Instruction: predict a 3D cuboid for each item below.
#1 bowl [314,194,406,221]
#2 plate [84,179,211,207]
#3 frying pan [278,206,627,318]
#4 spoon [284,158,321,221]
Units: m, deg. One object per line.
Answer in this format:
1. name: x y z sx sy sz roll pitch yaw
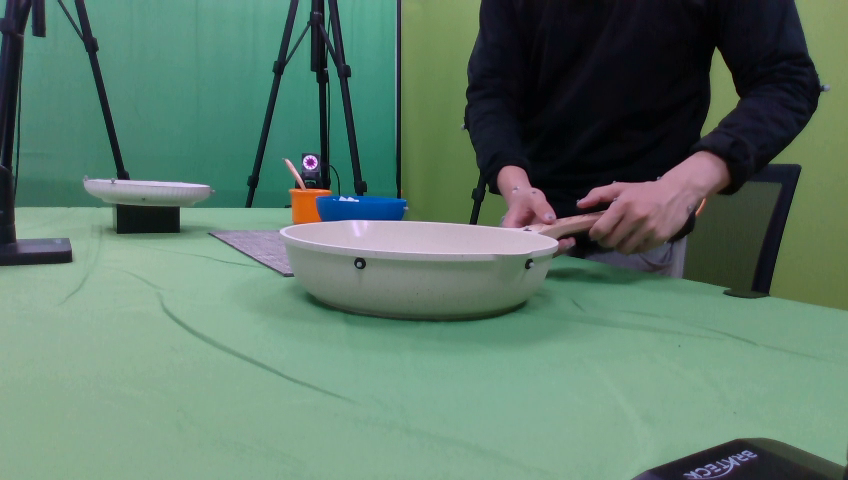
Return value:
1. bowl: -0.105 -0.033 0.992 0.151 0.077 0.151 3 8 0
2. plate: -0.495 -0.085 1.093 0.208 0.039 0.207 4 7 0
3. frying pan: 0.079 0.002 0.705 0.490 0.102 0.305 -12 15 -33
4. spoon: -0.269 -0.113 1.335 0.042 0.193 0.021 -3 -35 -43
